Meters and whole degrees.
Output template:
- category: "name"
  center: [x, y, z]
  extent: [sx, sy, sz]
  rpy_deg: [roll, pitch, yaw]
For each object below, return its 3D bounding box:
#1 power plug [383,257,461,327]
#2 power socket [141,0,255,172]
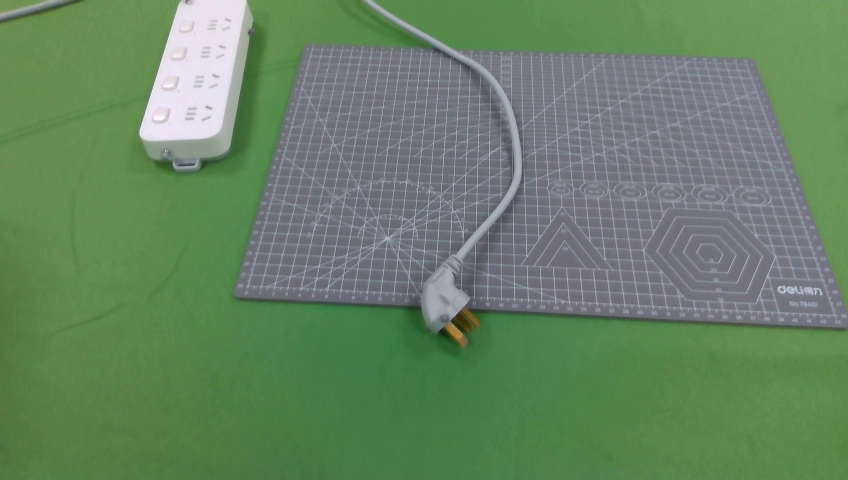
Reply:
- category: "power plug"
  center: [-0.001, 0.029, 0.422]
  extent: [0.035, 0.073, 0.052]
  rpy_deg: [-34, 19, -9]
- category: "power socket"
  center: [-0.209, -0.160, 0.575]
  extent: [0.072, 0.033, 0.224]
  rpy_deg: [-2, 55, -2]
